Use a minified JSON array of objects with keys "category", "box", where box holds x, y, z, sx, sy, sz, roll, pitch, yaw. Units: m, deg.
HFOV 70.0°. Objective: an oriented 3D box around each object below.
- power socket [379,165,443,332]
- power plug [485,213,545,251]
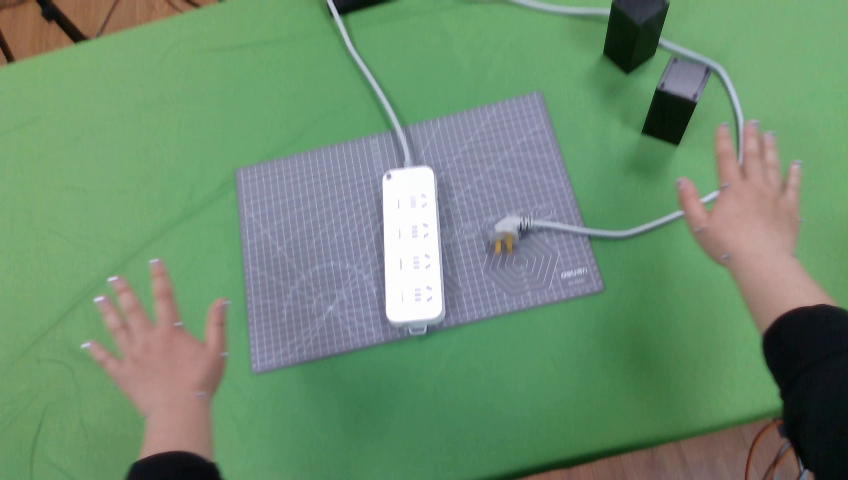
[{"category":"power socket","box":[-0.019,0.004,0.776,0.072,0.033,0.225,-6,67,5]},{"category":"power plug","box":[0.113,-0.011,0.756,0.072,0.035,0.052,-7,57,18]}]
